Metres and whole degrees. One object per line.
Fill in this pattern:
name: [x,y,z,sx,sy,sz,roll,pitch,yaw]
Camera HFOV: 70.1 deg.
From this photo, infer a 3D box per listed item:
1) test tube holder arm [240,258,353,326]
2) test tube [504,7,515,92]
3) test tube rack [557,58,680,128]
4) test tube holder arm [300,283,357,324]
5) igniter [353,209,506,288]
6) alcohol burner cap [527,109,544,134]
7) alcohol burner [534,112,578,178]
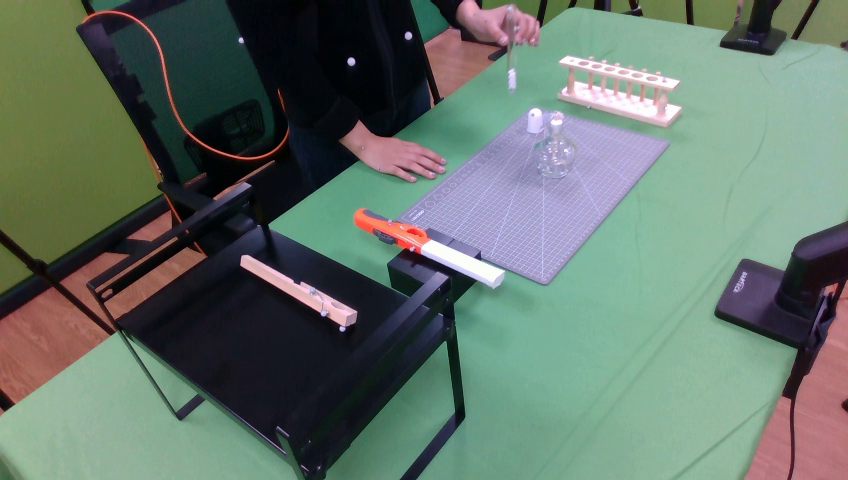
test tube holder arm: [-0.143,0.053,0.658,0.177,0.015,0.013,21,14,32]
test tube: [0.153,-0.337,1.079,0.017,0.151,0.017,-5,36,4]
test tube rack: [0.395,-0.309,1.230,0.240,0.085,0.067,25,50,33]
test tube holder arm: [-0.105,0.066,0.638,0.087,0.015,0.010,21,14,34]
igniter: [-0.003,0.007,0.892,0.274,0.025,0.057,24,37,31]
alcohol burner cap: [0.222,-0.238,1.203,0.034,0.048,0.033,-5,40,5]
alcohol burner: [0.232,-0.170,1.065,0.078,0.119,0.077,-5,39,5]
